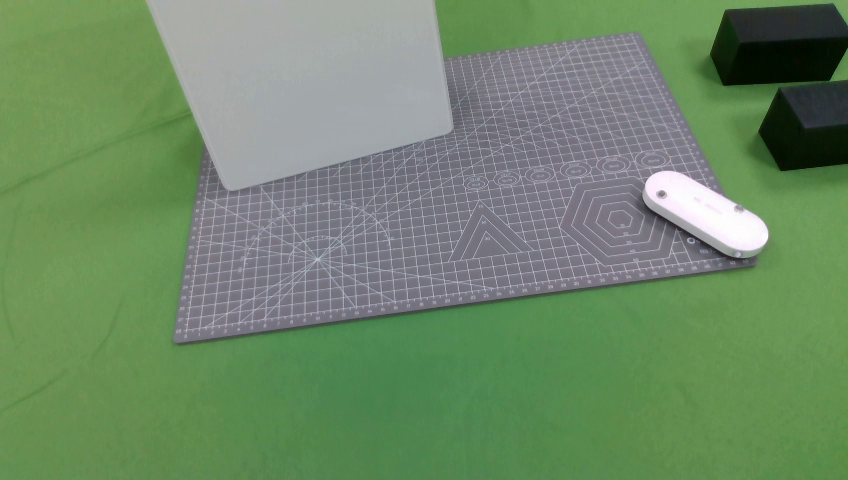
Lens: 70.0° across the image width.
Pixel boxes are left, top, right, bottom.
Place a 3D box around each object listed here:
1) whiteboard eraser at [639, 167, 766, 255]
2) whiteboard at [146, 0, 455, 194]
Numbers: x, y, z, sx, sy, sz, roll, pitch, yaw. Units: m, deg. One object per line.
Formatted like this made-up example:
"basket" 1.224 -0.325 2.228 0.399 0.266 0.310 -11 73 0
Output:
"whiteboard eraser" 0.220 -0.025 0.482 0.041 0.019 0.100 -39 59 -21
"whiteboard" -0.115 -0.230 0.521 0.217 0.308 0.142 -16 35 -6
